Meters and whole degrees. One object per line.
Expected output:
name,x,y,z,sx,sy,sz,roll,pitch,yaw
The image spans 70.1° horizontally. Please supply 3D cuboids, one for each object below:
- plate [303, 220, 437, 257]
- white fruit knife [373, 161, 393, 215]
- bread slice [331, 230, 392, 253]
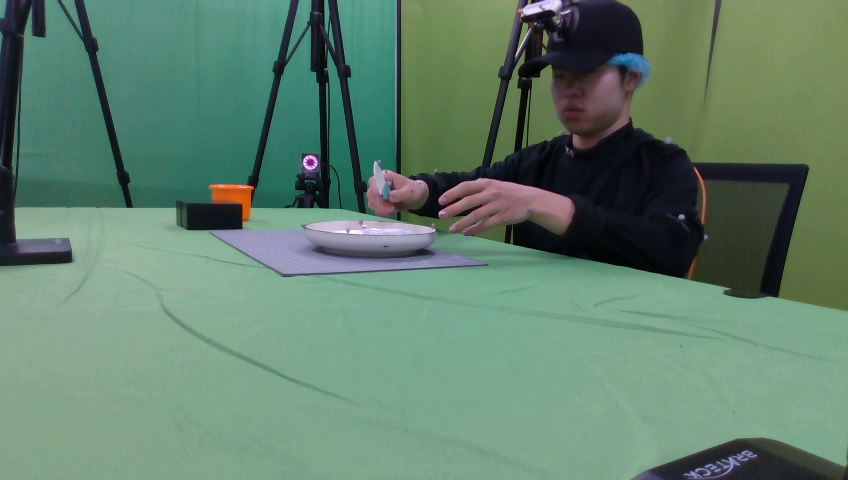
plate,-0.084,-0.003,0.951,0.209,0.038,0.209,3,7,0
white fruit knife,-0.068,-0.085,0.991,0.016,0.027,0.207,19,-14,7
bread slice,-0.088,0.000,0.947,0.105,0.019,0.131,-4,11,-44
